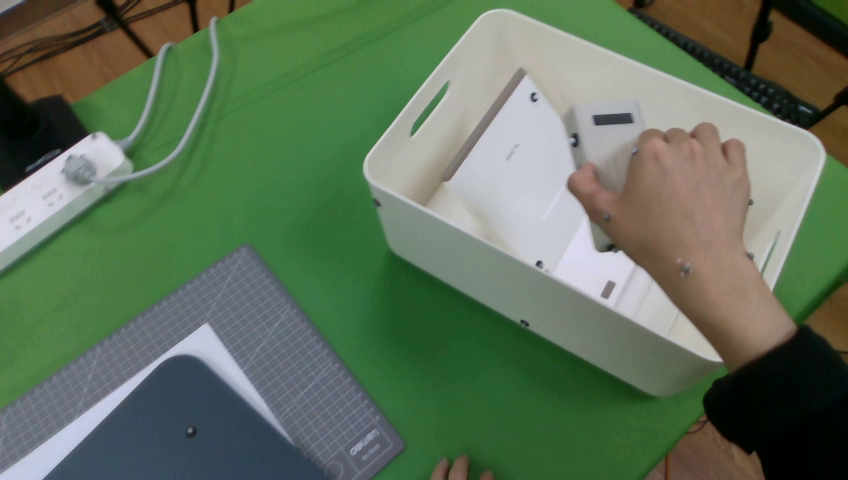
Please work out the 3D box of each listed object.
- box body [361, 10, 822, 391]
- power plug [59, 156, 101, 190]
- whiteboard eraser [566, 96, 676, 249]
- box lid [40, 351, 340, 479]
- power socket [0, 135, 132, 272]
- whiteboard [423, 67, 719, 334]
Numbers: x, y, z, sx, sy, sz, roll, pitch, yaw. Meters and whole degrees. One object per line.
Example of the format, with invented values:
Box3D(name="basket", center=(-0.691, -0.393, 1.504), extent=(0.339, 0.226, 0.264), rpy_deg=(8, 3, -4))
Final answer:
Box3D(name="box body", center=(0.154, -0.041, 0.623), extent=(0.362, 0.161, 0.253), rpy_deg=(28, 67, 16))
Box3D(name="power plug", center=(-0.399, -0.068, 0.708), extent=(0.035, 0.053, 0.072), rpy_deg=(-33, 72, -14))
Box3D(name="whiteboard eraser", center=(0.143, -0.050, 0.448), extent=(0.056, 0.042, 0.112), rpy_deg=(-5, 72, -12))
Box3D(name="box lid", center=(-0.196, 0.296, 0.547), extent=(0.369, 0.015, 0.263), rpy_deg=(35, 69, 18))
Box3D(name="power socket", center=(-0.455, -0.043, 0.722), extent=(0.071, 0.033, 0.226), rpy_deg=(41, 71, 20))
Box3D(name="whiteboard", center=(0.148, -0.045, 0.636), extent=(0.304, 0.145, 0.216), rpy_deg=(27, 66, 17))
